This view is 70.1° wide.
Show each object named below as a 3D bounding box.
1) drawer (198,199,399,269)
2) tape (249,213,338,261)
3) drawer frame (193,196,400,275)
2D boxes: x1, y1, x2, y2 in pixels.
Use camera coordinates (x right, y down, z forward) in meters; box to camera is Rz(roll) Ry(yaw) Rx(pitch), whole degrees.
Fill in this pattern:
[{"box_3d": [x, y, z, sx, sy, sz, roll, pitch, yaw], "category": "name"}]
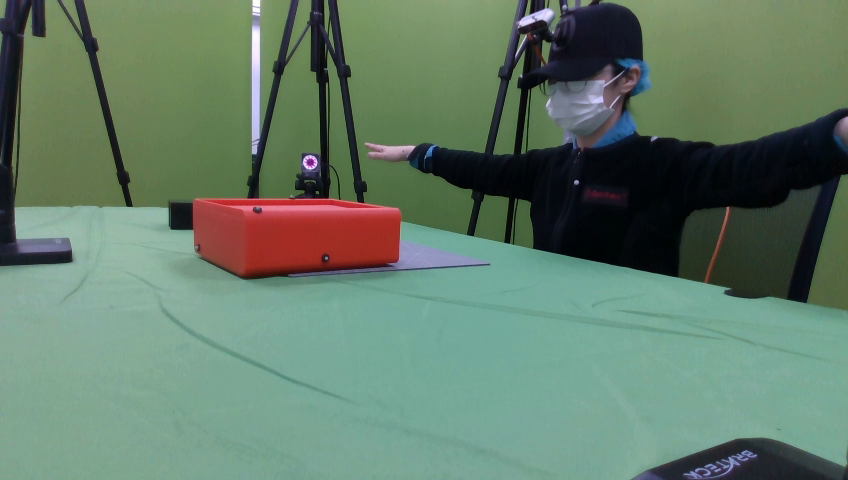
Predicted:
[{"box_3d": [-0.171, -0.014, 0.818, 0.213, 0.073, 0.193, -4, 10, -36], "category": "drawer"}, {"box_3d": [-0.174, -0.006, 0.813, 0.117, 0.052, 0.117, 2, 7, 0], "category": "tape"}, {"box_3d": [-0.173, -0.014, 0.815, 0.215, 0.082, 0.200, -4, 10, -37], "category": "drawer frame"}]
